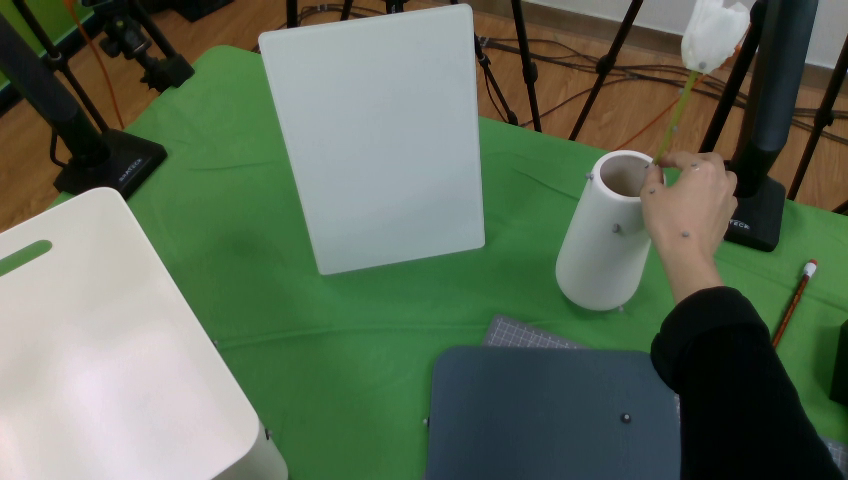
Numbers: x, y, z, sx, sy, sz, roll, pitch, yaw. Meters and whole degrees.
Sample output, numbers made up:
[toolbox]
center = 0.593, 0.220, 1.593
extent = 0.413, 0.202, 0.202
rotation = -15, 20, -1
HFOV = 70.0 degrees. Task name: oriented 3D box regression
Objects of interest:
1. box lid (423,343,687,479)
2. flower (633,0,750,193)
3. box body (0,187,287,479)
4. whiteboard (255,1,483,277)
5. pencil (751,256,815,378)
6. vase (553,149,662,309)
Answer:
[box lid]
center = 0.129, 0.269, 0.587
extent = 0.263, 0.015, 0.368
rotation = 1, 55, 3
[flower]
center = 0.215, -0.059, 0.600
extent = 0.044, 0.364, 0.038
rotation = 20, 43, 10
[box body]
center = -0.330, 0.156, 0.597
extent = 0.254, 0.162, 0.360
rotation = -34, 60, -19
[whiteboard]
center = -0.054, -0.134, 0.742
extent = 0.217, 0.308, 0.142
rotation = -10, 35, -3
[pencil]
center = 0.419, 0.086, 0.708
extent = 0.012, 0.012, 0.193
rotation = 31, 63, 23
[vase]
center = 0.200, -0.008, 0.668
extent = 0.098, 0.202, 0.097
rotation = -2, 53, 3
